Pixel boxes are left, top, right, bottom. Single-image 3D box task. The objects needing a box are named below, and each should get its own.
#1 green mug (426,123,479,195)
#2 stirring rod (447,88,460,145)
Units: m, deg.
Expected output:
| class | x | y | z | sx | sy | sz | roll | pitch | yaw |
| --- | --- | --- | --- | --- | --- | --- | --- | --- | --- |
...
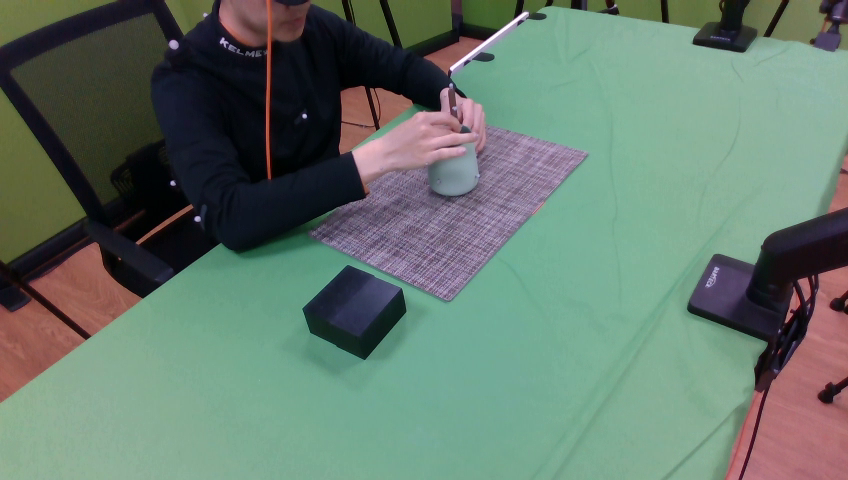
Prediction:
| class | x | y | z | sx | sy | sz | roll | pitch | yaw |
| --- | --- | --- | --- | --- | --- | --- | --- | --- | --- |
| green mug | 0.053 | -0.151 | 1.067 | 0.092 | 0.105 | 0.125 | 5 | 42 | 15 |
| stirring rod | 0.053 | -0.169 | 1.010 | 0.005 | 0.177 | 0.014 | 18 | 42 | 35 |
